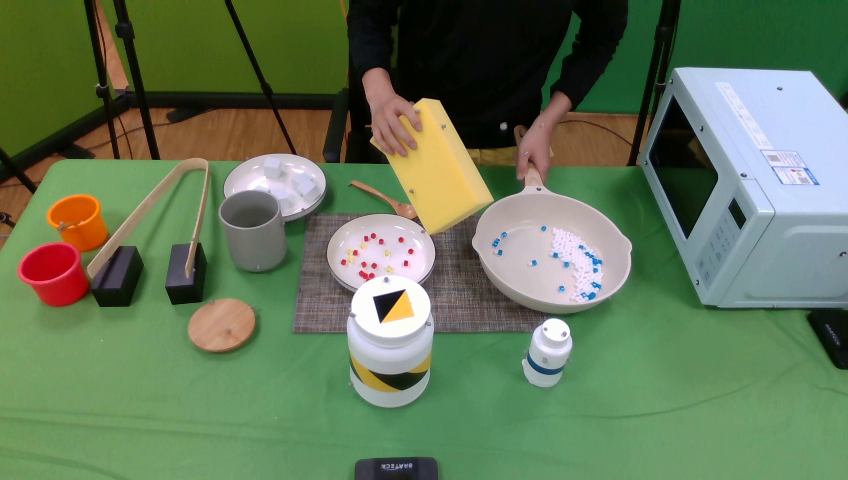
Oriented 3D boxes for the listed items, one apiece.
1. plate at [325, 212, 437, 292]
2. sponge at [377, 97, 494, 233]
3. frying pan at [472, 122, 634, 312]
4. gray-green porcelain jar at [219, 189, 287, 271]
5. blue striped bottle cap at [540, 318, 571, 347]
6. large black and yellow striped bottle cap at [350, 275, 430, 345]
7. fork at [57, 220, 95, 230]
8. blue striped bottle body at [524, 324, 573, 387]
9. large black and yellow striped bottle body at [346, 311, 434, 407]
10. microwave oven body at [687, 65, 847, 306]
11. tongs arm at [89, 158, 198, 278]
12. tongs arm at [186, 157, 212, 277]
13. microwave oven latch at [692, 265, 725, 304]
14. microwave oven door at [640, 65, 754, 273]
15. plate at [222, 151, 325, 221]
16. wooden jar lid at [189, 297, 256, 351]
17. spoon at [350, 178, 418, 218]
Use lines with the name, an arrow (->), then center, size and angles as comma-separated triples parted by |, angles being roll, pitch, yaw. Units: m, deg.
plate -> -0.080, 0.030, 1.143 | 0.209, 0.038, 0.208 | 3, 46, -2
sponge -> 0.018, -0.129, 1.054 | 0.061, 0.118, 0.206 | -15, 75, -57
frying pan -> 0.235, -0.061, 1.208 | 0.307, 0.103, 0.484 | 1, 55, -6
gray-green porcelain jar -> -0.310, -0.014, 1.113 | 0.106, 0.127, 0.105 | 2, 46, -2
blue striped bottle cap -> 0.203, 0.142, 0.933 | 0.044, 0.021, 0.044 | 3, 49, -4
large black and yellow striped bottle cap -> -0.048, 0.097, 0.868 | 0.115, 0.019, 0.114 | 3, 48, -3
fork -> -0.624, -0.027, 1.086 | 0.028, 0.207, 0.018 | -3, 92, -17
blue striped bottle body -> 0.200, 0.178, 0.970 | 0.063, 0.121, 0.062 | 2, 46, -2
large black and yellow striped bottle body -> -0.052, 0.157, 0.929 | 0.131, 0.185, 0.130 | 2, 47, -2
microwave oven body -> 0.669, -0.111, 1.176 | 0.326, 0.261, 0.439 | 0, 46, -3
tongs arm -> -0.529, -0.057, 1.164 | 0.028, 0.028, 0.385 | 1, 36, 8
tongs arm -> -0.445, -0.058, 1.169 | 0.051, 0.026, 0.382 | -5, 37, -6
microwave oven latch -> 0.522, 0.081, 1.116 | 0.030, 0.029, 0.078 | 1, 46, -2
microwave oven door -> 0.523, -0.147, 1.193 | 0.039, 0.245, 0.353 | 0, 47, -3
plate -> -0.310, -0.106, 1.262 | 0.208, 0.039, 0.206 | 2, 47, -2
wooden jar lid -> -0.342, 0.145, 1.033 | 0.108, 0.021, 0.107 | 2, 45, -2
spoon -> -0.084, -0.093, 1.272 | 0.193, 0.022, 0.041 | 31, 69, 25
